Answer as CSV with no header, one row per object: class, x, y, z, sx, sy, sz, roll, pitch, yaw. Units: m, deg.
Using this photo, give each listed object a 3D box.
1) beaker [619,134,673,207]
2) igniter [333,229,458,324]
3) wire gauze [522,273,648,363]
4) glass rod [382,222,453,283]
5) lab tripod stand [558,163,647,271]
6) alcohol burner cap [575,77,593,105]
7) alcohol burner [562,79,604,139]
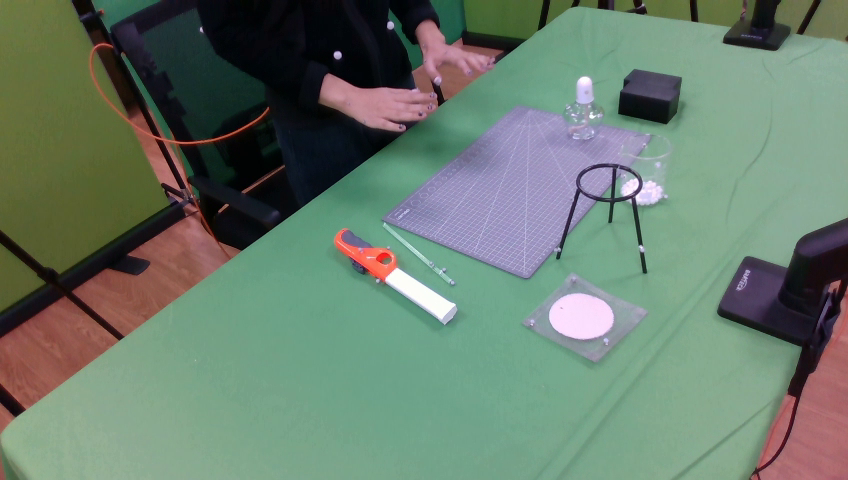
beaker,0.356,-0.111,0.986,0.084,0.101,0.073,-10,40,1
igniter,-0.055,0.049,0.929,0.057,0.025,0.274,-42,49,-20
wire gauze,0.220,0.105,0.828,0.125,0.011,0.120,-35,47,-30
glass rod,-0.014,0.016,0.976,0.008,0.008,0.198,-30,44,-22
lab tripod stand,0.271,-0.034,0.885,0.148,0.132,0.147,-4,40,4
alcohol burner cap,0.297,-0.279,1.123,0.034,0.048,0.033,-8,41,8
alcohol burner,0.303,-0.253,1.147,0.078,0.119,0.077,-4,41,4
